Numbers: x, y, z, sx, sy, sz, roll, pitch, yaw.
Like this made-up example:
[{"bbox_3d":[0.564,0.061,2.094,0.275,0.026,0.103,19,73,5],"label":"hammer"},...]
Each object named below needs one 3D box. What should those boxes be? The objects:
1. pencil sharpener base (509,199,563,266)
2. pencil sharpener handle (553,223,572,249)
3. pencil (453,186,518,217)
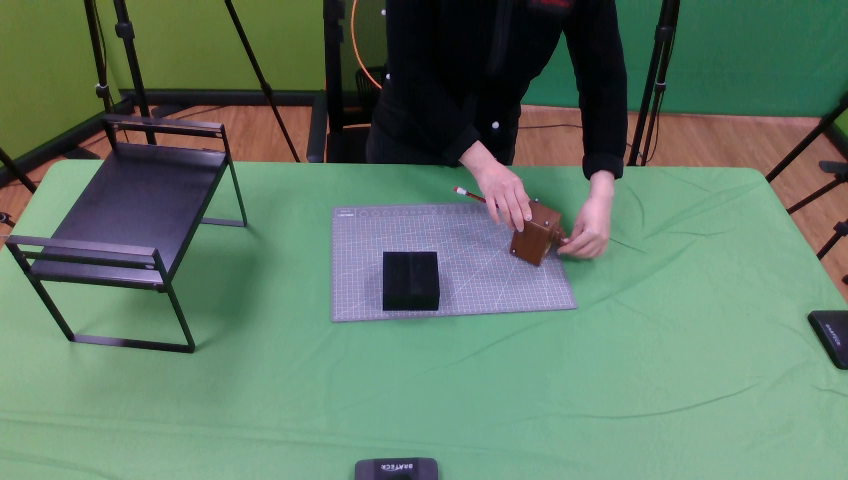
[{"bbox_3d":[0.216,-0.012,1.160,0.076,0.107,0.061,27,50,21],"label":"pencil sharpener base"},{"bbox_3d":[0.263,-0.004,1.136,0.030,0.068,0.036,27,76,21],"label":"pencil sharpener handle"},{"bbox_3d":[0.140,-0.066,1.177,0.193,0.012,0.012,26,50,23],"label":"pencil"}]
